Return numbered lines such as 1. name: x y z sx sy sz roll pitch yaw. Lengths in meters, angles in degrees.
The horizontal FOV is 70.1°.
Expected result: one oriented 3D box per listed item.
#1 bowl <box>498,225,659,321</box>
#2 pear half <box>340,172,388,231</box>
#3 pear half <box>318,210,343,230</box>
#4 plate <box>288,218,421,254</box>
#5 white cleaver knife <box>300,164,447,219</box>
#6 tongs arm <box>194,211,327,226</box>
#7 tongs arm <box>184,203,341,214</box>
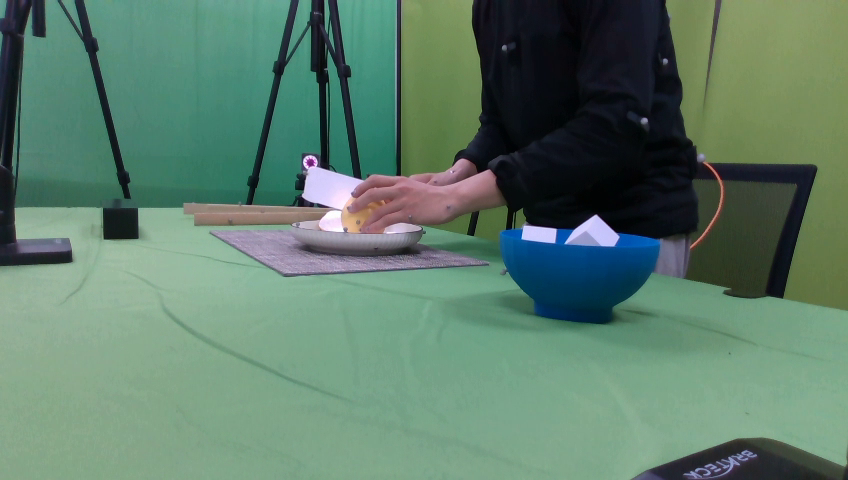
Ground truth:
1. bowl: 0.145 0.032 0.585 0.151 0.077 0.151 2 7 0
2. pear half: -0.086 -0.049 0.936 0.077 0.110 0.055 -17 31 -41
3. pear half: -0.142 -0.021 1.013 0.071 0.031 0.087 -4 26 -23
4. plate: -0.109 -0.008 0.956 0.208 0.039 0.207 2 7 0
5. white cleaver knife: -0.077 -0.068 1.008 0.288 0.066 0.021 10 -12 -36
6. tongs arm: -0.298 -0.049 1.307 0.390 0.028 0.028 -3 8 -38
7. tongs arm: -0.337 -0.065 1.376 0.387 0.026 0.050 0 10 -25
